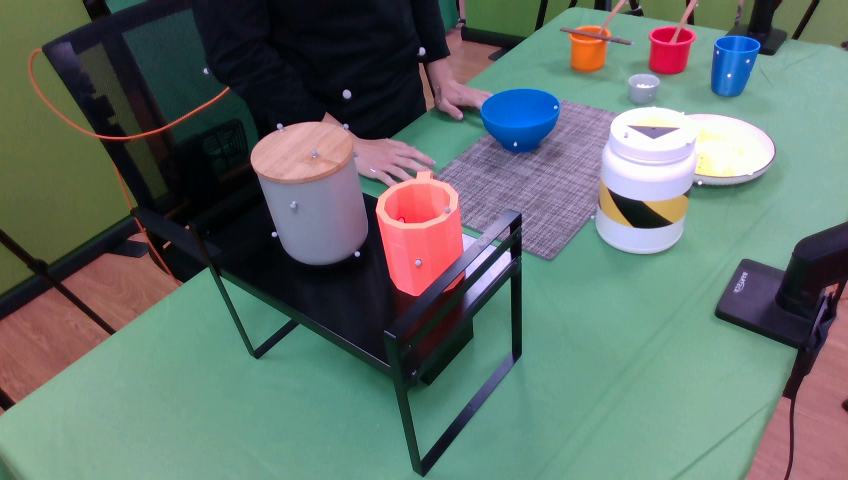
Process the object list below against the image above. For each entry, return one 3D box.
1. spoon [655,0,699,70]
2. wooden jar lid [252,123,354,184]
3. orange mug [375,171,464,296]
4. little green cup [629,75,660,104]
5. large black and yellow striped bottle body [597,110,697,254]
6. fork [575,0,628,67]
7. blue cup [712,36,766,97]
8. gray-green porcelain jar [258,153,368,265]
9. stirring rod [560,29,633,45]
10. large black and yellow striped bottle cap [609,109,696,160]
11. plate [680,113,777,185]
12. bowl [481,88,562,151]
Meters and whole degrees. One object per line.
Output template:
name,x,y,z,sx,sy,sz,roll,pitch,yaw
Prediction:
spoon,0.567,-0.463,1.337,0.041,0.022,0.193,30,96,38
wooden jar lid,-0.129,-0.090,0.652,0.108,0.021,0.108,-3,41,3
orange mug,-0.001,-0.016,0.662,0.083,0.101,0.125,-2,45,8
little green cup,0.457,-0.314,1.260,0.061,0.039,0.061,-4,40,4
large black and yellow striped bottle body,0.331,-0.086,0.904,0.131,0.185,0.130,-5,41,4
fork,0.413,-0.481,1.377,0.207,0.019,0.028,-56,42,12
blue cup,0.627,-0.350,1.227,0.092,0.100,0.092,-4,39,4
gray-green porcelain jar,-0.122,-0.043,0.691,0.106,0.127,0.105,-4,40,4
stirring rod,0.381,-0.452,1.345,0.174,0.006,0.014,25,49,33
large black and yellow striped bottle cap,0.319,-0.150,0.849,0.115,0.019,0.114,-4,40,3
plate,0.506,-0.158,1.073,0.209,0.038,0.208,-4,40,4
bowl,0.187,-0.223,1.161,0.151,0.077,0.150,-4,40,4
